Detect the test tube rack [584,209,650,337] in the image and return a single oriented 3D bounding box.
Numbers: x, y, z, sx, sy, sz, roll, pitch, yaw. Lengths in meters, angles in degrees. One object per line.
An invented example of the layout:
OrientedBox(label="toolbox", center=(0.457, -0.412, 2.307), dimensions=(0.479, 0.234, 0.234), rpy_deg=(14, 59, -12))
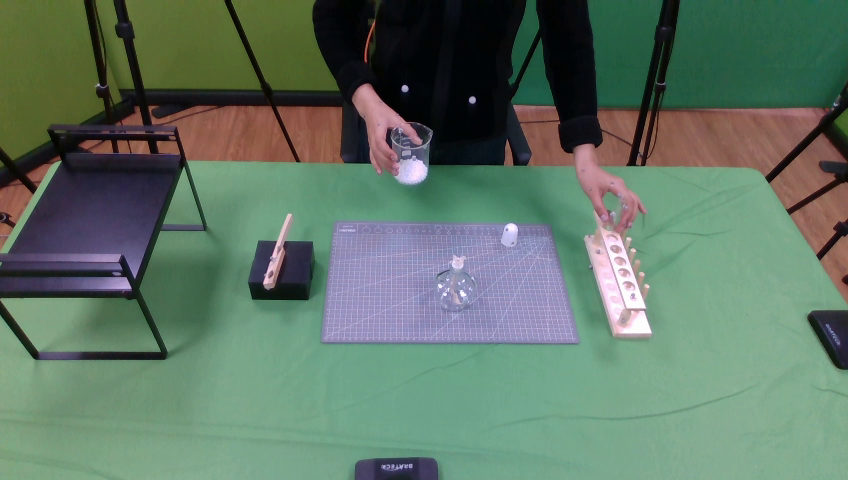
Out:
OrientedBox(label="test tube rack", center=(0.365, 0.056, 1.129), dimensions=(0.067, 0.085, 0.240), rpy_deg=(1, 46, -3))

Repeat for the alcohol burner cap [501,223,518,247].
OrientedBox(label="alcohol burner cap", center=(0.172, -0.013, 1.206), dimensions=(0.034, 0.048, 0.033), rpy_deg=(1, 46, -1))

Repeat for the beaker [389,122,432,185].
OrientedBox(label="beaker", center=(-0.024, -0.160, 1.132), dimensions=(0.084, 0.101, 0.073), rpy_deg=(-21, 55, -19))

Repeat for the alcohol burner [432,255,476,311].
OrientedBox(label="alcohol burner", center=(0.055, 0.070, 1.068), dimensions=(0.078, 0.119, 0.077), rpy_deg=(3, 45, -3))

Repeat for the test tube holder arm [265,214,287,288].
OrientedBox(label="test tube holder arm", center=(-0.268, 0.016, 1.099), dimensions=(0.013, 0.015, 0.177), rpy_deg=(2, 45, -4))

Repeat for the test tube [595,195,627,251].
OrientedBox(label="test tube", center=(0.350, -0.029, 1.140), dimensions=(0.017, 0.151, 0.017), rpy_deg=(3, 50, -3))

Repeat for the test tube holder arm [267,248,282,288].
OrientedBox(label="test tube holder arm", center=(-0.262, 0.048, 1.068), dimensions=(0.010, 0.015, 0.087), rpy_deg=(4, 45, -3))
